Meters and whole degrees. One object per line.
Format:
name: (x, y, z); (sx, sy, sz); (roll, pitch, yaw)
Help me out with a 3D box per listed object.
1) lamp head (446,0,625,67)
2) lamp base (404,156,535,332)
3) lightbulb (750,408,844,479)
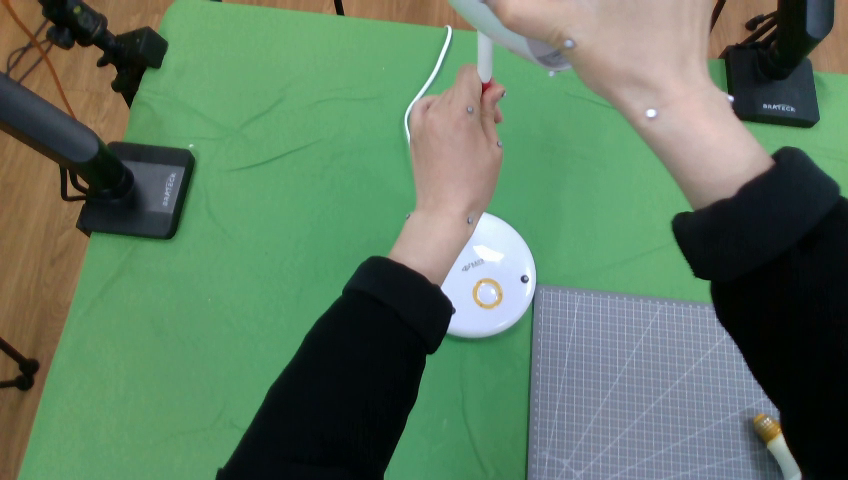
lamp head: (0.055, -0.175, 0.379); (0.112, 0.113, 0.121); (-42, 46, -16)
lamp base: (0.051, -0.003, 0.668); (0.160, 0.181, 0.178); (-34, 72, -14)
lightbulb: (0.405, 0.231, 0.666); (0.059, 0.060, 0.106); (-30, 58, -13)
